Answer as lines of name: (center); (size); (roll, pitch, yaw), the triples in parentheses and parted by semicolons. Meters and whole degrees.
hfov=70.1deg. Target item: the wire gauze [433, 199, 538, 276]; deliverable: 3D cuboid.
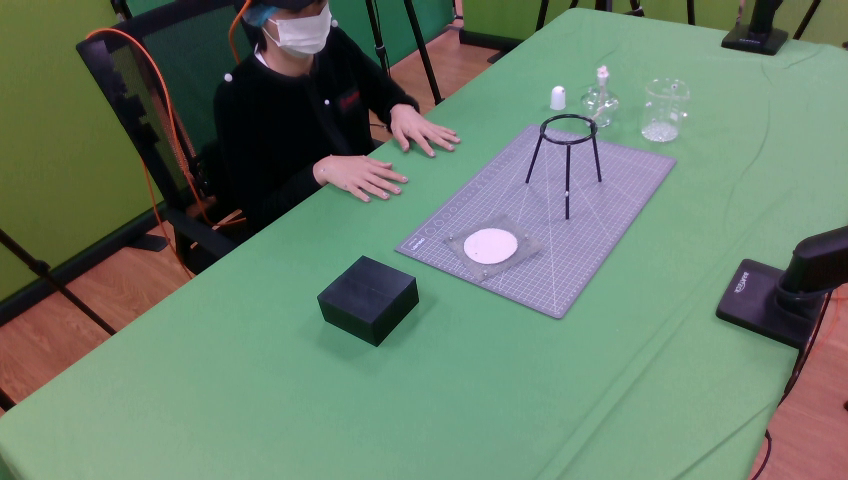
wire gauze: (0.096, -0.004, 0.949); (0.120, 0.011, 0.125); (29, 58, 33)

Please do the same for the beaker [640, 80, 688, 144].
beaker: (0.446, -0.235, 1.126); (0.074, 0.101, 0.083); (-34, 47, -27)

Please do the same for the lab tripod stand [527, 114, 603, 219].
lab tripod stand: (0.234, -0.129, 1.002); (0.148, 0.132, 0.147); (-6, 40, 6)

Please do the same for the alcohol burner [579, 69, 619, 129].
alcohol burner: (0.345, -0.280, 1.184); (0.078, 0.119, 0.077); (-4, 42, 4)

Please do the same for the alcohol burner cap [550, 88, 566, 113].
alcohol burner cap: (0.282, -0.296, 1.270); (0.034, 0.048, 0.033); (-4, 41, 4)
